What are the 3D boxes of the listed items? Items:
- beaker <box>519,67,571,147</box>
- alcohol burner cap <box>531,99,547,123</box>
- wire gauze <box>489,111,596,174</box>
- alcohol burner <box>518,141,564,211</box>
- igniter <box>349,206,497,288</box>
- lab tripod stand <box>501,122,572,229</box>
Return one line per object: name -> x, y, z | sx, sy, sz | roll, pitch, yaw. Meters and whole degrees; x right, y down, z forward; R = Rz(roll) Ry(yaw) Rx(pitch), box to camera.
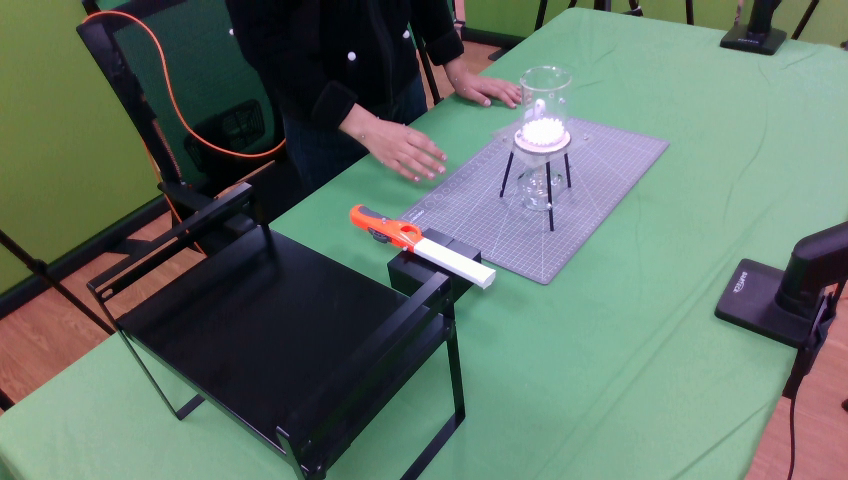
beaker -> 0.184, -0.201, 0.917 | 0.073, 0.101, 0.084 | 26, 51, 31
alcohol burner cap -> 0.234, -0.264, 1.231 | 0.034, 0.048, 0.033 | -5, 41, 5
wire gauze -> 0.183, -0.159, 0.943 | 0.122, 0.011, 0.124 | -25, 47, -17
alcohol burner -> 0.193, -0.109, 0.999 | 0.078, 0.119, 0.077 | -5, 38, 5
igniter -> -0.013, 0.004, 0.897 | 0.274, 0.025, 0.057 | 25, 44, 32
lab tripod stand -> 0.194, -0.110, 0.985 | 0.148, 0.132, 0.147 | -3, 42, 3
